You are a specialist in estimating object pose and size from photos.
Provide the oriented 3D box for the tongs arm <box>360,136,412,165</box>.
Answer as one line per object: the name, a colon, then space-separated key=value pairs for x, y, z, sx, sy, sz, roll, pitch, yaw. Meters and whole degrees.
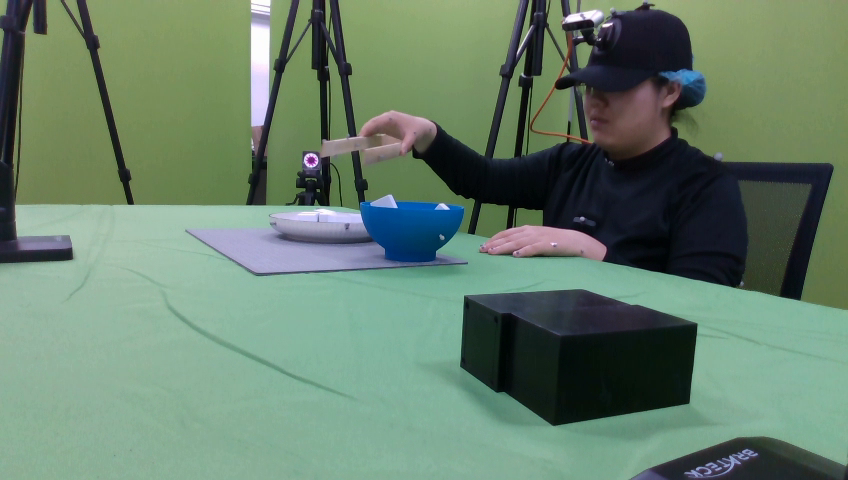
tongs arm: x=-0.062 y=-0.165 z=1.085 sx=0.028 sy=0.028 sz=0.388 roll=6 pitch=13 yaw=8

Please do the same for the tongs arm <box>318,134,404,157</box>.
tongs arm: x=-0.101 y=-0.172 z=1.092 sx=0.051 sy=0.026 sz=0.385 roll=10 pitch=13 yaw=8

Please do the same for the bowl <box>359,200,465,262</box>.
bowl: x=-0.018 y=-0.013 z=0.859 sx=0.151 sy=0.077 sz=0.151 roll=2 pitch=7 yaw=0

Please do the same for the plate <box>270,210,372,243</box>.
plate: x=-0.161 y=-0.023 z=1.054 sx=0.208 sy=0.039 sz=0.207 roll=2 pitch=7 yaw=0
